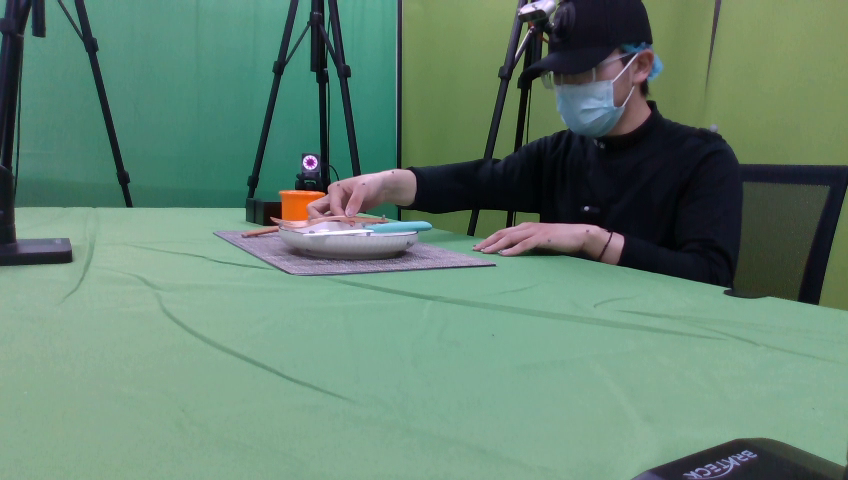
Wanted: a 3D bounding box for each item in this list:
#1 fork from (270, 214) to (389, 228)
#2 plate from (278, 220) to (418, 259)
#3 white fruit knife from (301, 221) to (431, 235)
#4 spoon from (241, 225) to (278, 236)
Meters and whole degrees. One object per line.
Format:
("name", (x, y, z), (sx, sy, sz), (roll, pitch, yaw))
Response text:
("fork", (-0.144, -0.032, 0.962), (0.208, 0.018, 0.028), (-5, 17, -35))
("plate", (-0.114, -0.002, 0.914), (0.209, 0.038, 0.209), (2, 8, 0))
("white fruit knife", (-0.079, -0.016, 0.858), (0.208, 0.016, 0.027), (-4, 12, -38))
("spoon", (-0.232, -0.021, 1.082), (0.195, 0.021, 0.041), (-3, 27, -37))
